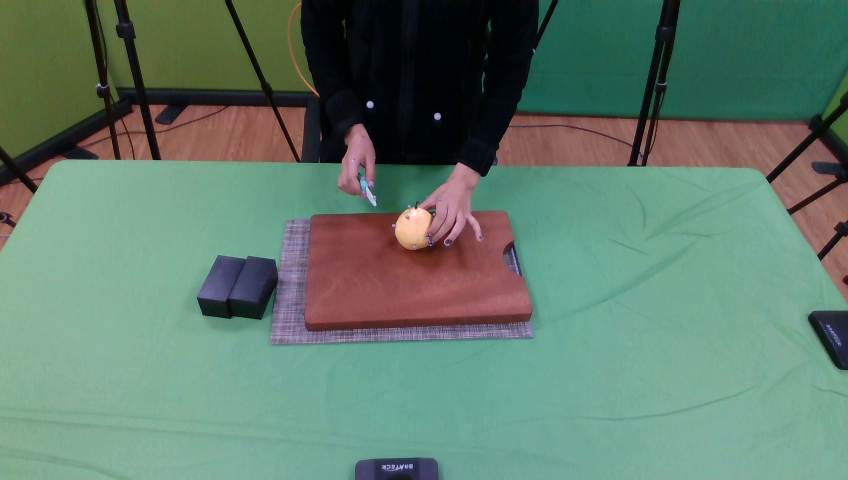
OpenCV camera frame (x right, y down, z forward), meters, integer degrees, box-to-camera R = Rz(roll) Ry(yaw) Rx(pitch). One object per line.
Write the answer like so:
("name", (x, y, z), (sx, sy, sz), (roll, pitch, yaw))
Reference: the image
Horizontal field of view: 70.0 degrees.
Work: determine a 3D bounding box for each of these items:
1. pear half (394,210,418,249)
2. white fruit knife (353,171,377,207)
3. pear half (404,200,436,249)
("pear half", (-0.037, -0.019, 1.126), (0.031, 0.088, 0.070), (-22, 57, -24))
("white fruit knife", (-0.110, -0.097, 1.146), (0.016, 0.027, 0.206), (-13, 24, -12))
("pear half", (-0.005, -0.037, 1.132), (0.056, 0.110, 0.076), (-22, 56, -22))
